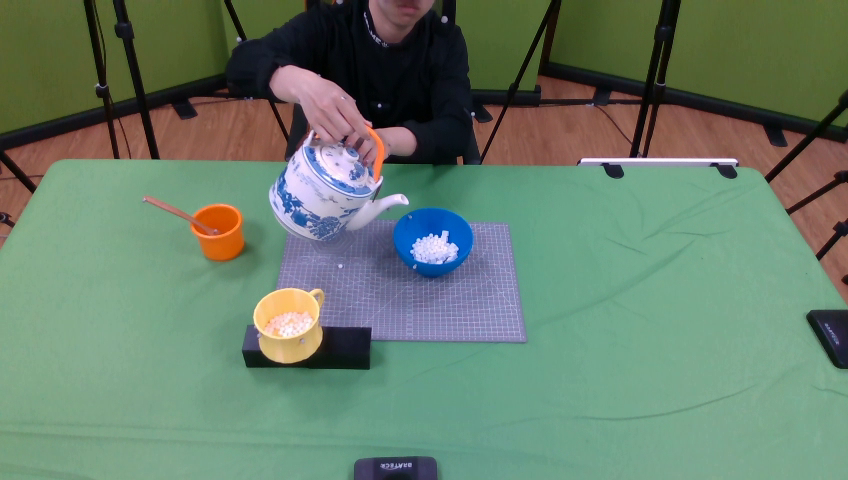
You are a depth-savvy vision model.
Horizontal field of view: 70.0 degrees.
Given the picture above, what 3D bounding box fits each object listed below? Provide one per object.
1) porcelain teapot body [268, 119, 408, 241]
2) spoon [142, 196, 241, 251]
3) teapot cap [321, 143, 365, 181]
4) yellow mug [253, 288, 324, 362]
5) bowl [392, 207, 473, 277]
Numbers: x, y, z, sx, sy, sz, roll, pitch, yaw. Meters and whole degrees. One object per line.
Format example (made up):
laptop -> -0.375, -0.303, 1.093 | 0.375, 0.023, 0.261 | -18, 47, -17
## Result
porcelain teapot body -> -0.133, -0.095, 1.039 | 0.206, 0.225, 0.144 | 32, 34, -19
spoon -> -0.421, -0.032, 1.108 | 0.021, 0.195, 0.041 | -32, 39, 28
teapot cap -> -0.132, -0.133, 1.009 | 0.085, 0.044, 0.084 | 32, 34, -24
yellow mug -> -0.205, 0.124, 0.963 | 0.099, 0.064, 0.130 | 27, 48, 21
bowl -> 0.014, 0.016, 1.140 | 0.151, 0.077, 0.150 | 2, 46, -2
